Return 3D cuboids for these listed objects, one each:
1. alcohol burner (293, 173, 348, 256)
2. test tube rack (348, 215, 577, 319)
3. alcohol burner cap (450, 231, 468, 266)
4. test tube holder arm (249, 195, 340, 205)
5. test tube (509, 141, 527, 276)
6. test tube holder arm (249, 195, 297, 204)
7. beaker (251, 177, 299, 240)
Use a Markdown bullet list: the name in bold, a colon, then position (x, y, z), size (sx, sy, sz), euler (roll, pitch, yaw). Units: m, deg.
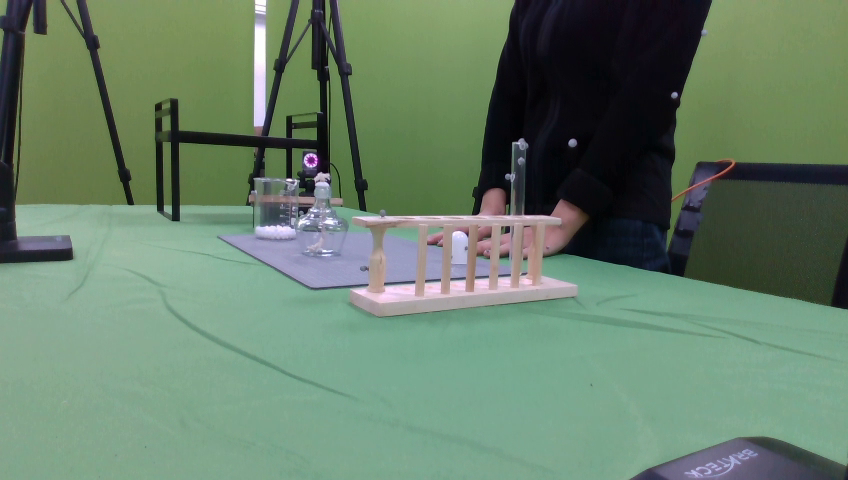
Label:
- **alcohol burner**: position (-0.147, -0.036, 0.859), size (0.078, 0.119, 0.078), euler (4, 8, 0)
- **test tube rack**: position (0.048, 0.021, 0.619), size (0.244, 0.085, 0.066), euler (-2, 9, -31)
- **alcohol burner cap**: position (0.046, 0.012, 0.838), size (0.034, 0.048, 0.034), euler (2, 6, 0)
- **test tube holder arm**: position (-0.247, -0.077, 1.169), size (0.179, 0.015, 0.013), euler (0, 9, -31)
- **test tube**: position (0.102, -0.032, 0.662), size (0.017, 0.150, 0.017), euler (0, 10, 0)
- **test tube holder arm**: position (-0.284, -0.076, 1.141), size (0.088, 0.015, 0.010), euler (0, 9, -29)
- **beaker**: position (-0.245, -0.052, 1.004), size (0.083, 0.100, 0.074), euler (9, 10, 36)
